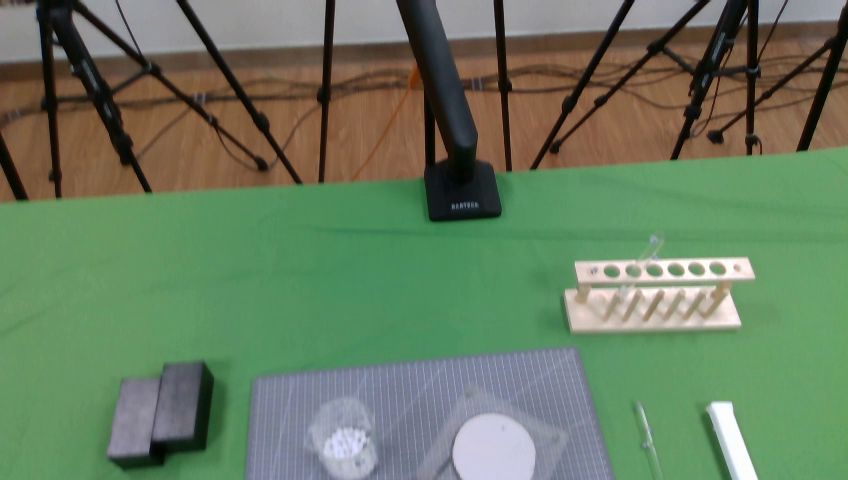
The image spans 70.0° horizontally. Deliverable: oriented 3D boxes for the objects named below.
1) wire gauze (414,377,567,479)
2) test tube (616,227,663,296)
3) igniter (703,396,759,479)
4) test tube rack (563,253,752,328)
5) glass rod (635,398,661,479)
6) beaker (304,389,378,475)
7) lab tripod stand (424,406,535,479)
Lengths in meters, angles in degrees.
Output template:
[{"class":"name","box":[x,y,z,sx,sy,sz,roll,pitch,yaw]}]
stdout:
[{"class":"wire gauze","box":[0.071,0.219,0.633,0.124,0.011,0.121,27,59,18]},{"class":"test tube","box":[0.290,0.033,0.826,0.017,0.151,0.017,3,53,-3]},{"class":"igniter","box":[0.391,0.318,0.717,0.057,0.025,0.273,4,53,-11]},{"class":"test tube rack","box":[0.328,0.073,0.858,0.242,0.086,0.066,-2,54,-1]},{"class":"glass rod","box":[0.289,0.292,0.747,0.008,0.008,0.197,-3,57,-3]},{"class":"beaker","box":[-0.095,0.234,0.724,0.084,0.101,0.073,-18,56,-12]},{"class":"lab tripod stand","box":[0.068,0.256,0.689,0.148,0.132,0.147,0,56,1]}]
